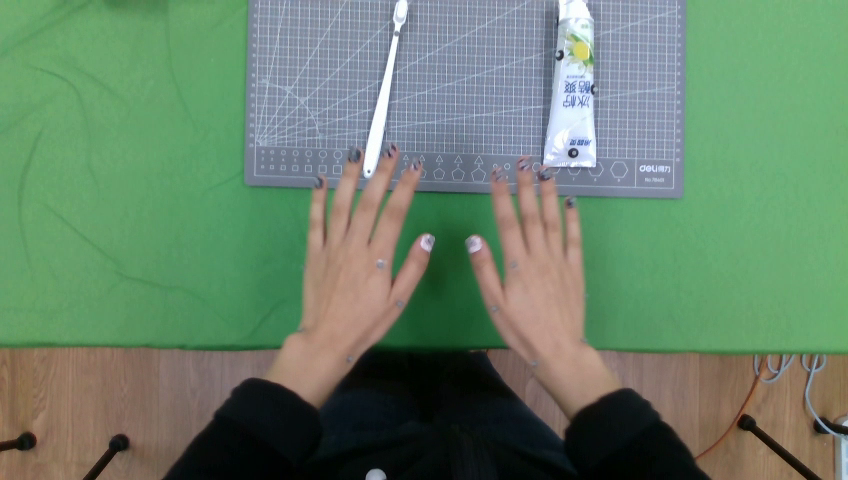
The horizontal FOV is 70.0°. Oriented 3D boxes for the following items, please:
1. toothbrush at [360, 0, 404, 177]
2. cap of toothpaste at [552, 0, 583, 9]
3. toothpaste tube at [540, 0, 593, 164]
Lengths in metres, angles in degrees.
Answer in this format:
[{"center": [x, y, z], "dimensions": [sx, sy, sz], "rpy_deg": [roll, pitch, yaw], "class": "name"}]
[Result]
[{"center": [-0.042, -0.153, 0.610], "dimensions": [0.014, 0.016, 0.181], "rpy_deg": [11, 90, -17], "class": "toothbrush"}, {"center": [0.148, -0.243, 0.612], "dimensions": [0.037, 0.037, 0.011], "rpy_deg": [-11, 86, -4], "class": "cap of toothpaste"}, {"center": [0.147, -0.161, 0.617], "dimensions": [0.055, 0.034, 0.165], "rpy_deg": [0, 93, 4], "class": "toothpaste tube"}]
